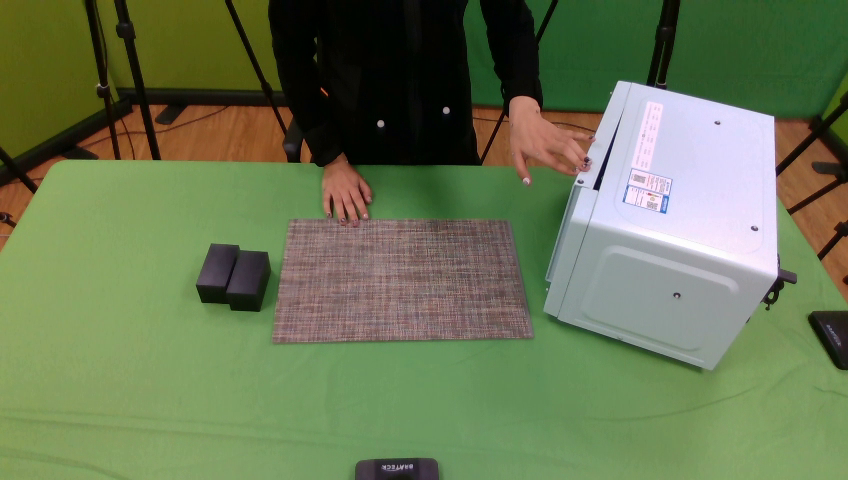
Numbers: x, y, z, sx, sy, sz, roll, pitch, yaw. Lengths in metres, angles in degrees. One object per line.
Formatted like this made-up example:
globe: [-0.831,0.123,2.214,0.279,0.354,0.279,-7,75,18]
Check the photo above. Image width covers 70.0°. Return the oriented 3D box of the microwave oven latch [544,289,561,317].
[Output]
microwave oven latch: [0.237,0.099,1.086,0.030,0.029,0.079,18,47,14]

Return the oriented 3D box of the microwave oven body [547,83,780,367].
microwave oven body: [0.445,-0.041,1.100,0.325,0.261,0.440,17,47,13]

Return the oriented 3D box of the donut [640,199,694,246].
donut: [0.463,-0.034,1.160,0.099,0.048,0.098,-1,61,3]

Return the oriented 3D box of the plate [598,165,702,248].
plate: [0.432,-0.062,1.174,0.209,0.038,0.208,9,48,-10]

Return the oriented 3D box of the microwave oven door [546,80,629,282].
microwave oven door: [0.318,-0.118,1.157,0.039,0.245,0.354,19,48,14]
